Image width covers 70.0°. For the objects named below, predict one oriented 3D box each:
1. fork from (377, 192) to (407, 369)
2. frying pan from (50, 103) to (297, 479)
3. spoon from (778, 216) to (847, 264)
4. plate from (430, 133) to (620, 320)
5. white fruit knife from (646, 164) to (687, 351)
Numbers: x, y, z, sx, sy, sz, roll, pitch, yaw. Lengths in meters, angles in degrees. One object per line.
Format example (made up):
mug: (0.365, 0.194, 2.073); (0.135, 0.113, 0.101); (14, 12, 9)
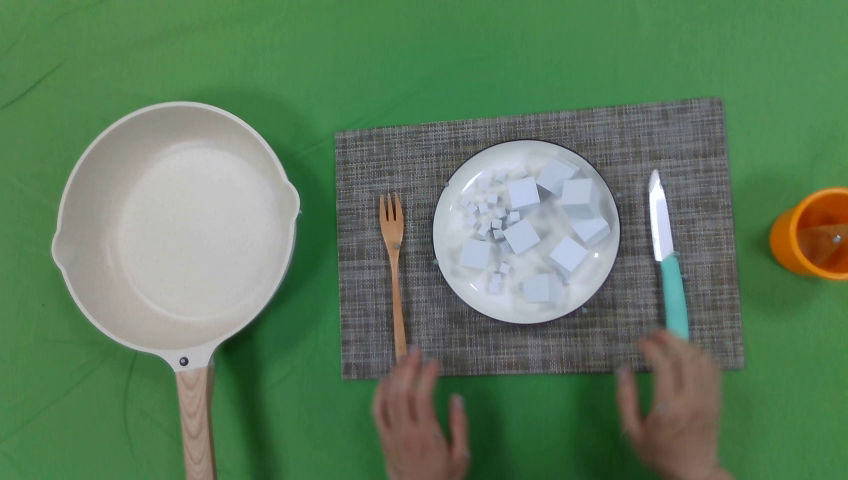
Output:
fork: (-0.034, 0.047, 0.706); (0.028, 0.018, 0.206); (-5, 83, -4)
frying pan: (-0.270, 0.087, 0.698); (0.306, 0.103, 0.485); (-11, 76, 8)
spoon: (0.435, -0.030, 0.584); (0.021, 0.194, 0.041); (-31, 82, -40)
plate: (0.111, -0.014, 0.681); (0.207, 0.039, 0.207); (-1, 86, 8)
white fruit knife: (0.266, 0.017, 0.669); (0.027, 0.016, 0.207); (-6, 85, 4)
